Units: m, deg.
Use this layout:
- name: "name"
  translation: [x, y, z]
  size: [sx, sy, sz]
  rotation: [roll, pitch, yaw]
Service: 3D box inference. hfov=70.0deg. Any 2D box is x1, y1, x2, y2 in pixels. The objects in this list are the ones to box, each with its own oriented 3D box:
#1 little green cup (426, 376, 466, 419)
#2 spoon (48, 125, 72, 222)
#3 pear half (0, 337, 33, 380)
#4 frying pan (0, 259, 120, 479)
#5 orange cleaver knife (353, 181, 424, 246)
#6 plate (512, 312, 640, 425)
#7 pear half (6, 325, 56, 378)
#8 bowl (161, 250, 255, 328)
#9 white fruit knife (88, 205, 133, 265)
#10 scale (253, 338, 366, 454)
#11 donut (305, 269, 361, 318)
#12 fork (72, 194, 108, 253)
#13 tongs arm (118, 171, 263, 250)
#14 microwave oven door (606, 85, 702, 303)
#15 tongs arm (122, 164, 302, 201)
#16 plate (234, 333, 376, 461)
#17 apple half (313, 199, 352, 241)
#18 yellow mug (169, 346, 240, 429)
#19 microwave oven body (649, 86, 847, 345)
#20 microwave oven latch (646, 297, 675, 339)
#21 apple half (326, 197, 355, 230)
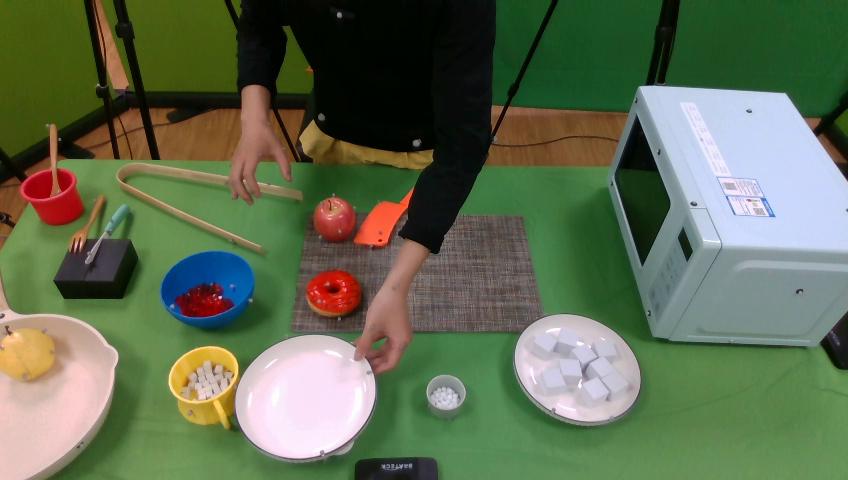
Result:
- name: "little green cup"
  translation: [0.033, 0.248, 0.950]
  size: [0.061, 0.039, 0.061]
  rotation: [2, 46, -2]
- name: "spoon"
  translation: [-0.718, -0.131, 1.188]
  size: [0.041, 0.021, 0.193]
  rotation: [-4, 90, -7]
- name: "pear half"
  translation: [-0.631, 0.184, 0.921]
  size: [0.070, 0.088, 0.031]
  rotation: [29, 49, 19]
- name: "frying pan"
  translation: [-0.647, 0.164, 0.936]
  size: [0.307, 0.103, 0.485]
  rotation: [-19, 58, -22]
- name: "orange cleaver knife"
  translation: [-0.070, -0.059, 1.245]
  size: [0.077, 0.012, 0.210]
  rotation: [18, 50, 21]
- name: "plate"
  translation: [0.246, 0.213, 0.999]
  size: [0.208, 0.039, 0.206]
  rotation: [2, 46, -2]
- name: "pear half"
  translation: [-0.608, 0.158, 0.935]
  size: [0.076, 0.110, 0.056]
  rotation: [31, 51, 20]
- name: "bowl"
  translation: [-0.362, 0.098, 1.039]
  size: [0.151, 0.077, 0.150]
  rotation: [2, 45, -2]
- name: "white fruit knife"
  translation: [-0.584, -0.013, 1.129]
  size: [0.016, 0.027, 0.206]
  rotation: [0, 31, -5]
- name: "scale"
  translation: [-0.175, 0.236, 0.951]
  size: [0.149, 0.032, 0.199]
  rotation: [4, 46, 0]
- name: "donut"
  translation: [-0.160, 0.095, 1.075]
  size: [0.099, 0.048, 0.098]
  rotation: [3, 45, -3]
- name: "fork"
  translation: [-0.634, -0.036, 1.158]
  size: [0.028, 0.019, 0.206]
  rotation: [-8, 32, -8]
- name: "tongs arm"
  translation: [-0.474, -0.060, 1.209]
  size: [0.386, 0.028, 0.028]
  rotation: [22, 53, 19]
- name: "microwave oven door"
  translation: [0.423, -0.094, 1.140]
  size: [0.039, 0.245, 0.353]
  rotation: [2, 46, -1]
- name: "tongs arm"
  translation: [-0.445, -0.114, 1.267]
  size: [0.384, 0.026, 0.050]
  rotation: [12, 47, 9]
- name: "plate"
  translation: [-0.175, 0.235, 0.907]
  size: [0.209, 0.038, 0.208]
  rotation: [2, 46, -2]
- name: "apple half"
  translation: [-0.184, -0.033, 1.176]
  size: [0.080, 0.075, 0.053]
  rotation: [35, 57, 22]
- name: "yellow mug"
  translation: [-0.322, 0.231, 0.922]
  size: [0.100, 0.064, 0.130]
  rotation: [-24, 53, -25]
- name: "microwave oven body"
  translation: [0.567, -0.053, 1.118]
  size: [0.326, 0.261, 0.439]
  rotation: [2, 45, -1]
- name: "microwave oven latch"
  translation: [0.412, 0.134, 1.061]
  size: [0.030, 0.029, 0.078]
  rotation: [4, 45, 1]
- name: "apple half"
  translation: [-0.159, -0.054, 1.196]
  size: [0.081, 0.082, 0.033]
  rotation: [34, 57, 26]
